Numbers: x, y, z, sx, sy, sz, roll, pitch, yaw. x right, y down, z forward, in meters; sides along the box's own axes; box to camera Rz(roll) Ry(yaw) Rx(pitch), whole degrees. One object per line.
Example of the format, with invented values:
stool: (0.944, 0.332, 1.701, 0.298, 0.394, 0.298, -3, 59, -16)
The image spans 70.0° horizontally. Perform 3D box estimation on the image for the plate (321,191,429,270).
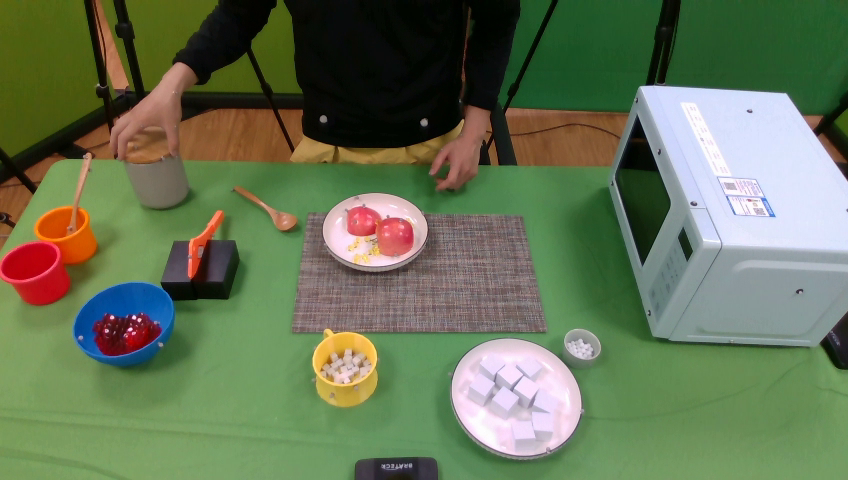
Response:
plate: (-0.094, -0.015, 1.185, 0.209, 0.038, 0.208, 2, 46, -2)

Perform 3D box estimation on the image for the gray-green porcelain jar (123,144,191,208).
gray-green porcelain jar: (-0.531, -0.137, 1.213, 0.106, 0.127, 0.105, 2, 46, -2)

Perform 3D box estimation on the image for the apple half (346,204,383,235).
apple half: (-0.119, -0.049, 1.207, 0.081, 0.033, 0.081, 2, 50, -2)

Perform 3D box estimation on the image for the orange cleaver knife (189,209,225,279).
orange cleaver knife: (-0.401, 0.002, 1.122, 0.012, 0.077, 0.210, 4, 23, -4)

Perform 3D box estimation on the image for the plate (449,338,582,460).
plate: (0.141, 0.251, 0.956, 0.208, 0.039, 0.206, 2, 46, -2)

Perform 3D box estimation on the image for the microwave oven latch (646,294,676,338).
microwave oven latch: (0.413, 0.133, 1.061, 0.030, 0.029, 0.078, 4, 46, 1)

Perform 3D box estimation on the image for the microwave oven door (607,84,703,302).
microwave oven door: (0.424, -0.096, 1.138, 0.039, 0.245, 0.353, 3, 46, -1)

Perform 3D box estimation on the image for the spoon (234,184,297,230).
spoon: (-0.327, -0.073, 1.239, 0.193, 0.022, 0.041, 34, 70, 25)

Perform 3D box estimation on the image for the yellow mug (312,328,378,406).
yellow mug: (-0.132, 0.193, 0.971, 0.100, 0.064, 0.130, -22, 51, -22)

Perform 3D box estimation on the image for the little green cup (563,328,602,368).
little green cup: (0.265, 0.184, 1.025, 0.061, 0.039, 0.061, 2, 45, -1)

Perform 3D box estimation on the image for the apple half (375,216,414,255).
apple half: (-0.056, -0.017, 1.169, 0.075, 0.053, 0.080, 0, 45, -7)

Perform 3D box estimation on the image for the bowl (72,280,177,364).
bowl: (-0.473, 0.147, 0.982, 0.151, 0.077, 0.150, 2, 46, -2)

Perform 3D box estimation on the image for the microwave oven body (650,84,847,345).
microwave oven body: (0.569, -0.054, 1.116, 0.326, 0.261, 0.439, 2, 46, -1)

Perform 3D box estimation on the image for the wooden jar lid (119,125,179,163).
wooden jar lid: (-0.528, -0.181, 1.167, 0.108, 0.021, 0.107, 3, 48, -4)

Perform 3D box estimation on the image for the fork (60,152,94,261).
fork: (-0.638, -0.063, 1.119, 0.028, 0.018, 0.207, 12, 90, 7)
